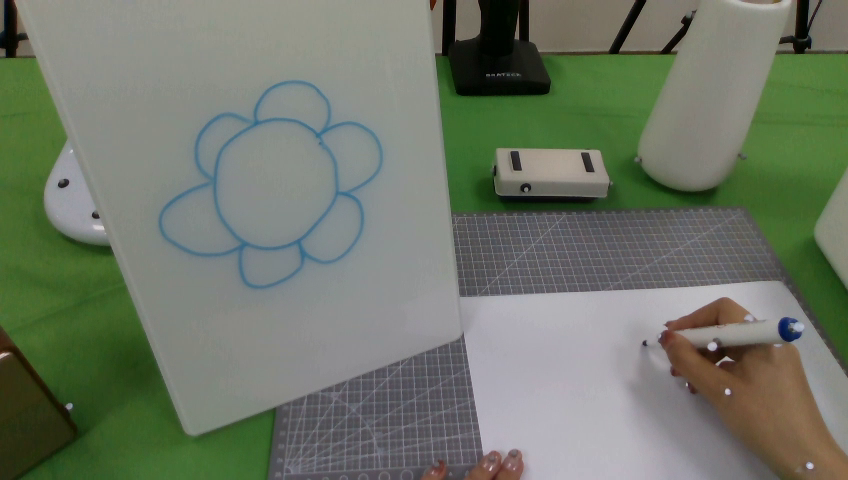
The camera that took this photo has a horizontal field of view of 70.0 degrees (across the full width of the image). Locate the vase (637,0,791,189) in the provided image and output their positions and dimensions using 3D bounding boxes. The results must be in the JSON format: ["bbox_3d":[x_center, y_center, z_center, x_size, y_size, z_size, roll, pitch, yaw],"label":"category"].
[{"bbox_3d":[0.280,-0.147,0.592,0.098,0.202,0.097,2,45,-2],"label":"vase"}]

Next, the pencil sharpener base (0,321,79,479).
[{"bbox_3d":[-0.285,0.093,0.388,0.076,0.108,0.061,34,53,27],"label":"pencil sharpener base"}]

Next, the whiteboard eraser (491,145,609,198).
[{"bbox_3d":[0.127,-0.069,0.617,0.113,0.042,0.055,0,43,-2],"label":"whiteboard eraser"}]

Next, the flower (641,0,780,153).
[{"bbox_3d":[0.294,-0.195,0.524,0.044,0.363,0.038,-21,67,-31],"label":"flower"}]

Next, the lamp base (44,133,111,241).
[{"bbox_3d":[-0.290,-0.116,0.544,0.178,0.182,0.160,28,50,26],"label":"lamp base"}]

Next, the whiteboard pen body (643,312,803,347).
[{"bbox_3d":[0.203,0.066,0.431,0.017,0.141,0.017,4,76,-19],"label":"whiteboard pen body"}]

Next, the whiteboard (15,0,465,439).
[{"bbox_3d":[-0.108,-0.051,0.442,0.218,0.308,0.142,-17,29,-17],"label":"whiteboard"}]

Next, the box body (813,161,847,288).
[{"bbox_3d":[0.500,0.052,0.433,0.254,0.162,0.360,-1,45,-3],"label":"box body"}]
